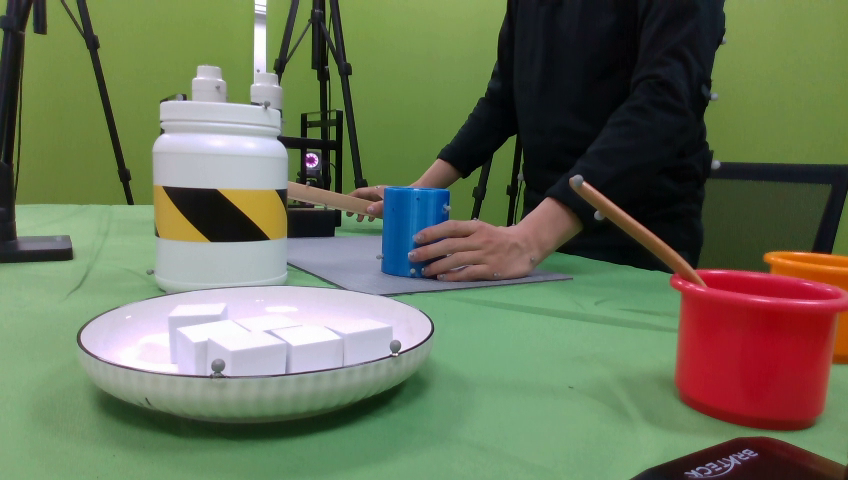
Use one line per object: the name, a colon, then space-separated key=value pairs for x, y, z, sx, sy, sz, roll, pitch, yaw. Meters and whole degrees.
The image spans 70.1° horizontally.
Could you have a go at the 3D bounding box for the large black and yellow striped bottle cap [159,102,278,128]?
large black and yellow striped bottle cap: x=-0.207 y=-0.125 z=0.615 sx=0.115 sy=0.019 sz=0.115 roll=2 pitch=6 yaw=0

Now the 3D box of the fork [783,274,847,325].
fork: x=0.332 y=0.018 z=0.443 sx=0.028 sy=0.018 sz=0.207 roll=-1 pitch=-36 yaw=-15

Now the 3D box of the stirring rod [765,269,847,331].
stirring rod: x=0.351 y=0.020 z=0.484 sx=0.176 sy=0.006 sz=0.014 roll=-40 pitch=-7 yaw=13

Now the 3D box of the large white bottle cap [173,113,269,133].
large white bottle cap: x=-0.254 y=-0.146 z=0.760 sx=0.115 sy=0.018 sz=0.115 roll=1 pitch=7 yaw=0

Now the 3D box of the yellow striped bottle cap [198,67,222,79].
yellow striped bottle cap: x=-0.411 y=-0.320 z=1.163 sx=0.044 sy=0.018 sz=0.044 roll=1 pitch=6 yaw=0

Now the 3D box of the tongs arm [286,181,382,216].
tongs arm: x=-0.125 y=-0.066 z=1.153 sx=0.387 sy=0.026 sz=0.050 roll=11 pitch=-3 yaw=-36

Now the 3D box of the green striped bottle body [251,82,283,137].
green striped bottle body: x=-0.317 y=-0.270 z=1.220 sx=0.063 sy=0.119 sz=0.063 roll=2 pitch=7 yaw=0

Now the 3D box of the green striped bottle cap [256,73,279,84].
green striped bottle cap: x=-0.314 y=-0.322 z=1.214 sx=0.044 sy=0.020 sz=0.044 roll=0 pitch=7 yaw=0

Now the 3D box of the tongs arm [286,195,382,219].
tongs arm: x=-0.161 y=-0.072 z=1.209 sx=0.389 sy=0.027 sz=0.028 roll=11 pitch=-6 yaw=-27

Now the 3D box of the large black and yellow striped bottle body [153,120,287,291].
large black and yellow striped bottle body: x=-0.208 y=-0.042 z=0.626 sx=0.131 sy=0.184 sz=0.130 roll=2 pitch=7 yaw=0

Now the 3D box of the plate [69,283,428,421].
plate: x=-0.102 y=0.066 z=0.381 sx=0.208 sy=0.039 sz=0.207 roll=2 pitch=7 yaw=0

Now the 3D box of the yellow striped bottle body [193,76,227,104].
yellow striped bottle body: x=-0.414 y=-0.268 z=1.169 sx=0.063 sy=0.120 sz=0.063 roll=2 pitch=7 yaw=0

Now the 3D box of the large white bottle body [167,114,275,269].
large white bottle body: x=-0.256 y=-0.063 z=0.771 sx=0.131 sy=0.184 sz=0.130 roll=2 pitch=7 yaw=0

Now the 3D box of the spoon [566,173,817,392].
spoon: x=0.161 y=0.024 z=0.370 sx=0.193 sy=0.021 sz=0.042 roll=47 pitch=18 yaw=3

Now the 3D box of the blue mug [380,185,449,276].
blue mug: x=-0.018 y=-0.016 z=0.764 sx=0.083 sy=0.106 sz=0.116 roll=-2 pitch=8 yaw=-25
